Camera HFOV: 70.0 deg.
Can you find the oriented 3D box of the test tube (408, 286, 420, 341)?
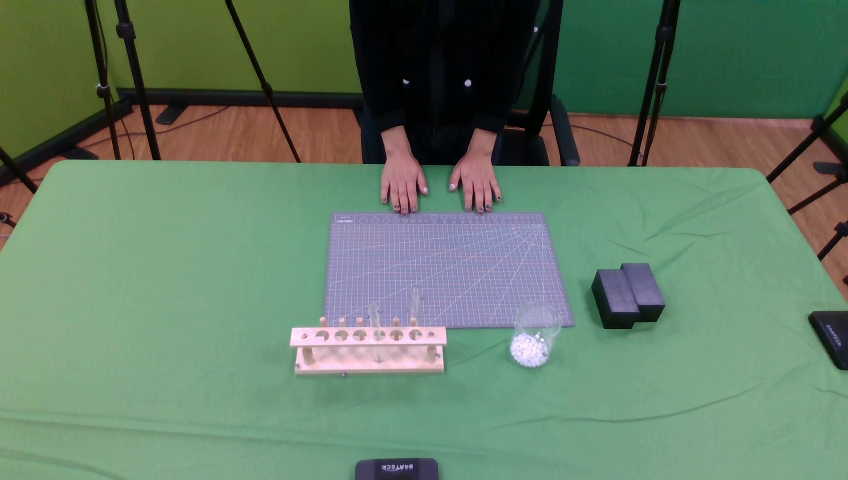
[{"bbox_3d":[-0.017,0.123,0.974,0.017,0.151,0.017,2,48,-2],"label":"test tube"}]

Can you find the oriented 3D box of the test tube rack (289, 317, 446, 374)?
[{"bbox_3d":[-0.089,0.167,0.988,0.242,0.085,0.066,0,46,-4],"label":"test tube rack"}]

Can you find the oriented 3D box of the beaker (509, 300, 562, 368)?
[{"bbox_3d":[0.182,0.162,1.005,0.074,0.101,0.083,-4,47,-7],"label":"beaker"}]

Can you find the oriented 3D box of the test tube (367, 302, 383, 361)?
[{"bbox_3d":[-0.075,0.145,0.941,0.017,0.151,0.017,0,49,0],"label":"test tube"}]
